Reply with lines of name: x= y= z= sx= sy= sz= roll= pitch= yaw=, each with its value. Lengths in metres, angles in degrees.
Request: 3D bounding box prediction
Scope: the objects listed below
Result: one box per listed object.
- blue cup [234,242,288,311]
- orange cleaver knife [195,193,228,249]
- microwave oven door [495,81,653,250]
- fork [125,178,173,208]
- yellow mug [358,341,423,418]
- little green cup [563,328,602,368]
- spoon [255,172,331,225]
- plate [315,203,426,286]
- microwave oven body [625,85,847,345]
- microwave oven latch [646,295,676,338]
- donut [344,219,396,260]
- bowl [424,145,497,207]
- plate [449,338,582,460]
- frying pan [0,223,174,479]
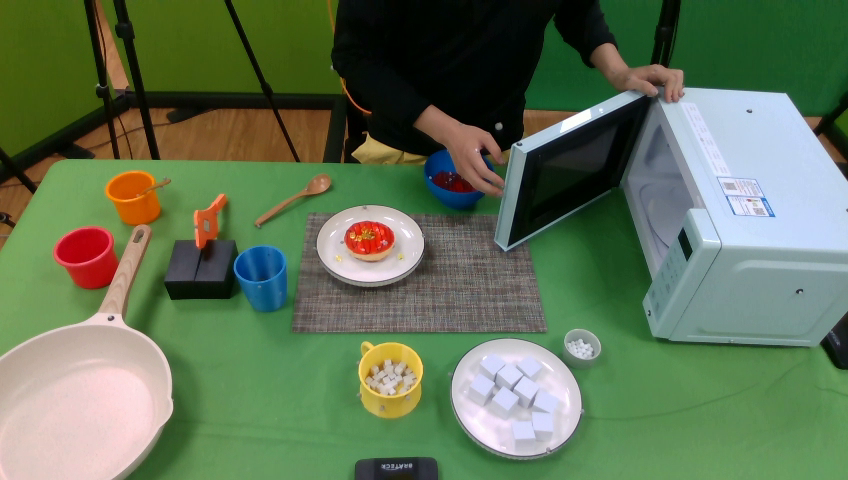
blue cup: x=-0.276 y=0.071 z=1.052 sx=0.093 sy=0.101 sz=0.092 roll=1 pitch=48 yaw=-1
orange cleaver knife: x=-0.406 y=-0.041 z=1.163 sx=0.012 sy=0.077 sz=0.210 roll=0 pitch=18 yaw=-3
microwave oven door: x=0.294 y=-0.147 z=1.178 sx=0.356 sy=0.245 sz=0.039 roll=-28 pitch=54 yaw=-27
fork: x=-0.525 y=-0.090 z=1.154 sx=0.207 sy=0.019 sz=0.028 roll=-17 pitch=27 yaw=45
yellow mug: x=-0.062 y=0.210 z=0.961 sx=0.100 sy=0.064 sz=0.130 roll=-29 pitch=54 yaw=-27
little green cup: x=0.265 y=0.184 z=1.025 sx=0.061 sy=0.039 sz=0.061 roll=1 pitch=46 yaw=-1
spoon: x=-0.272 y=-0.087 z=1.256 sx=0.041 sy=0.022 sz=0.193 roll=46 pitch=57 yaw=12
plate: x=-0.101 y=0.012 z=1.159 sx=0.209 sy=0.038 sz=0.208 roll=2 pitch=46 yaw=-2
microwave oven body: x=0.568 y=-0.054 z=1.116 sx=0.326 sy=0.261 sz=0.439 roll=2 pitch=46 yaw=-1
microwave oven latch: x=0.412 y=0.133 z=1.060 sx=0.030 sy=0.029 sz=0.078 roll=4 pitch=46 yaw=1
donut: x=-0.103 y=-0.002 z=1.157 sx=0.099 sy=0.048 sz=0.098 roll=3 pitch=43 yaw=-2
bowl: x=0.074 y=-0.124 z=1.277 sx=0.151 sy=0.077 sz=0.150 roll=2 pitch=47 yaw=-2
plate: x=0.141 y=0.251 z=0.955 sx=0.208 sy=0.039 sz=0.206 roll=2 pitch=46 yaw=-2
frying pan: x=-0.505 y=0.169 z=0.941 sx=0.307 sy=0.103 sz=0.485 roll=5 pitch=54 yaw=-1
